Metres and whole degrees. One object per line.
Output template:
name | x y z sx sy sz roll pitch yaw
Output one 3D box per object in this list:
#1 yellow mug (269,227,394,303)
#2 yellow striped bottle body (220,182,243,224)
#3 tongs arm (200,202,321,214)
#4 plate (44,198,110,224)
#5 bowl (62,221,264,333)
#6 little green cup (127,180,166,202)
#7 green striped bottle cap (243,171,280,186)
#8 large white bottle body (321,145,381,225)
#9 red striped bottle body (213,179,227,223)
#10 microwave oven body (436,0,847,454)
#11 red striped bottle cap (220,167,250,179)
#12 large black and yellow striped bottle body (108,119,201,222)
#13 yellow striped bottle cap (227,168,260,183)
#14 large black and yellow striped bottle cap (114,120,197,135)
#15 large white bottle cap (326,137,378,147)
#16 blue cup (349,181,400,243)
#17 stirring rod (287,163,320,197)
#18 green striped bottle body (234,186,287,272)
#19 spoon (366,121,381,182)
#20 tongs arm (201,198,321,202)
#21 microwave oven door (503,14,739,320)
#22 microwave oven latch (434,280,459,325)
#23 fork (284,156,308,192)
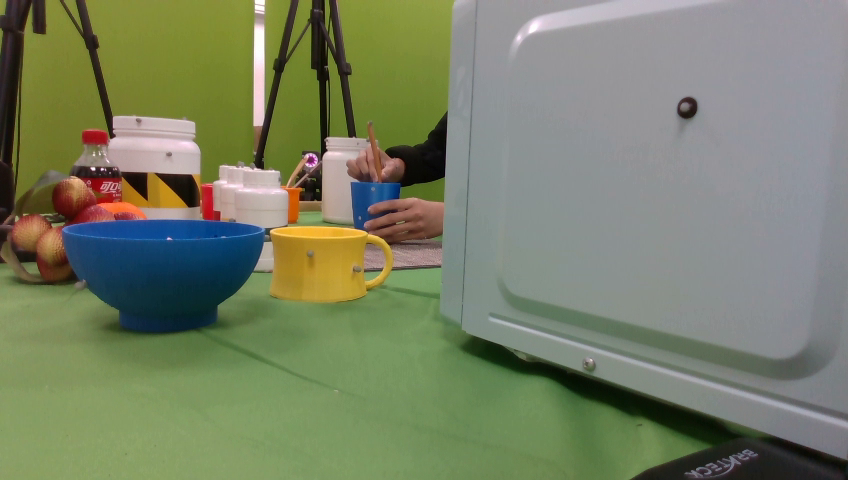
yellow mug | -0.094 0.023 0.629 0.131 0.064 0.099 0 7 -22
yellow striped bottle body | -0.246 -0.036 0.825 0.063 0.120 0.063 3 8 0
tongs arm | -0.378 -0.079 1.440 0.387 0.026 0.050 -4 8 -44
plate | -0.617 -0.056 1.179 0.209 0.038 0.209 3 7 0
bowl | -0.209 0.029 0.496 0.151 0.077 0.151 2 7 0
little green cup | -0.485 -0.086 1.061 0.061 0.038 0.061 1 7 0
green striped bottle cap | -0.198 -0.074 0.736 0.044 0.020 0.044 1 7 0
large white bottle body | -0.162 -0.131 1.341 0.131 0.184 0.130 2 8 0
red striped bottle body | -0.284 -0.048 0.910 0.063 0.119 0.063 3 12 0
microwave oven body | 0.279 -0.040 0.465 0.444 0.260 0.324 -3 9 -41
red striped bottle cap | -0.281 -0.100 0.901 0.044 0.017 0.044 -1 5 0
large black and yellow striped bottle body | -0.412 -0.088 0.930 0.131 0.184 0.130 3 7 0
yellow striped bottle cap | -0.243 -0.087 0.818 0.044 0.018 0.044 3 6 0
large black and yellow striped bottle cap | -0.407 -0.171 0.920 0.115 0.019 0.115 2 9 0
large white bottle cap | -0.158 -0.214 1.329 0.115 0.018 0.115 2 8 0
blue cup | -0.083 -0.047 1.012 0.093 0.100 0.092 2 6 0
stirring rod | -0.283 -0.107 1.298 0.014 0.006 0.176 10 53 50
green striped bottle body | -0.201 -0.023 0.743 0.063 0.119 0.063 2 7 0
spoon | -0.080 -0.105 1.021 0.022 0.193 0.041 -4 -2 -7
tongs arm | -0.433 -0.090 1.508 0.390 0.028 0.028 -1 2 -29
microwave oven door | 0.218 -0.065 0.600 0.358 0.243 0.039 -4 10 -41
microwave oven latch | 0.044 0.045 0.470 0.079 0.029 0.030 -2 8 -39
fork | -0.295 -0.116 1.323 0.028 0.019 0.207 1 50 21
